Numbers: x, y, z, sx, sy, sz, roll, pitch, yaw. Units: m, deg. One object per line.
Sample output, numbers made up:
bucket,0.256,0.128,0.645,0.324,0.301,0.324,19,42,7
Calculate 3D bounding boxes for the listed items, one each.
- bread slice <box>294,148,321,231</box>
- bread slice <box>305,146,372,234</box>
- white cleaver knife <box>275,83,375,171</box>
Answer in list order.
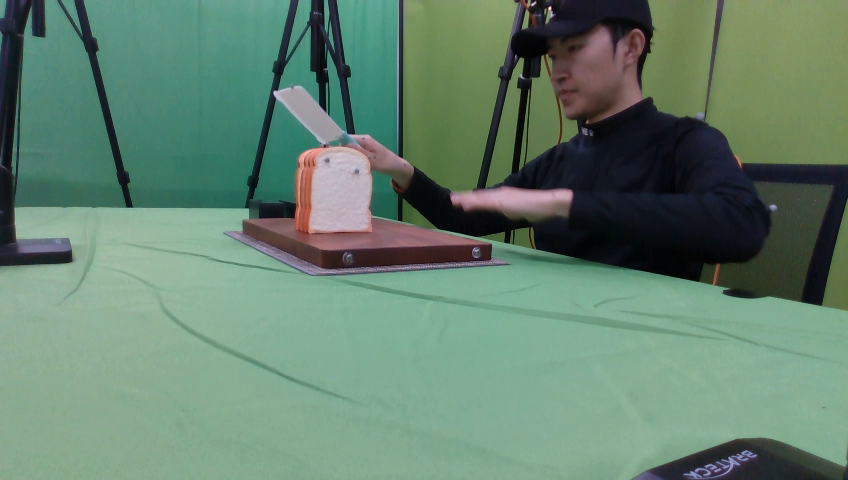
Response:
bread slice,-0.158,-0.081,0.970,0.105,0.131,0.019,-1,2,-33
bread slice,-0.131,-0.076,0.924,0.107,0.134,0.018,-5,10,-32
white cleaver knife,-0.186,-0.215,1.190,0.065,0.021,0.288,-13,-32,22
